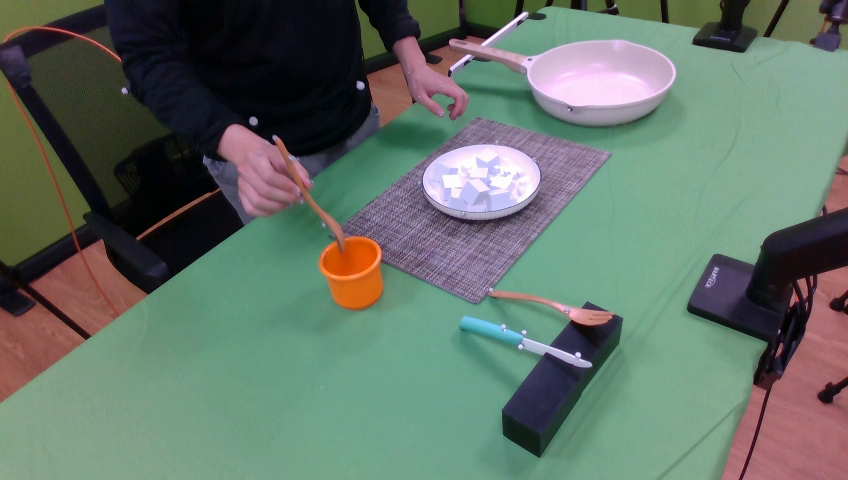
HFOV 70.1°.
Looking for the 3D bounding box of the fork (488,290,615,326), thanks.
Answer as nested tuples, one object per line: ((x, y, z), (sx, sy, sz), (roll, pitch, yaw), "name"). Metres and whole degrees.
((0.160, 0.086, 0.801), (0.205, 0.019, 0.028), (12, 46, 48), "fork")

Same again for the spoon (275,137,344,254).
((-0.149, -0.054, 0.800), (0.021, 0.195, 0.041), (-30, 39, -1), "spoon")

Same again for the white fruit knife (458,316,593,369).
((0.120, 0.127, 0.757), (0.205, 0.027, 0.016), (12, 44, 43), "white fruit knife")

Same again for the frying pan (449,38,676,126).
((0.272, -0.363, 1.287), (0.485, 0.103, 0.307), (23, 48, 19), "frying pan")

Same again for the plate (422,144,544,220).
((0.102, -0.097, 1.048), (0.207, 0.039, 0.206), (-4, 40, 4), "plate")
